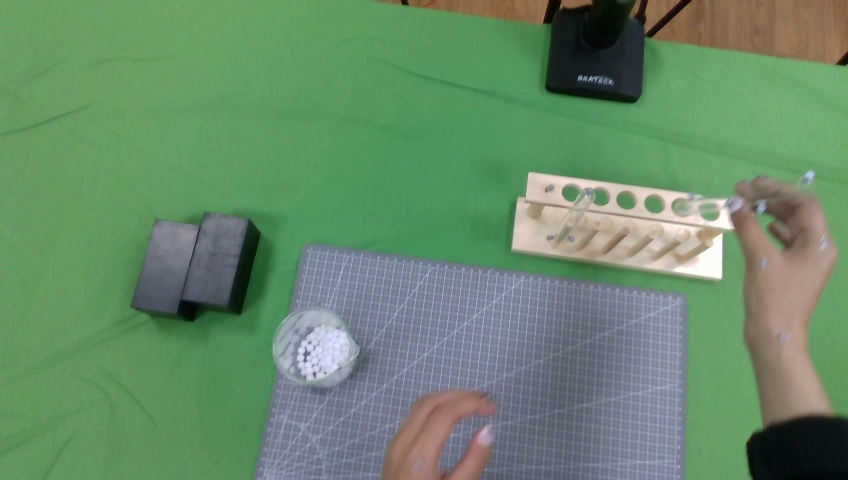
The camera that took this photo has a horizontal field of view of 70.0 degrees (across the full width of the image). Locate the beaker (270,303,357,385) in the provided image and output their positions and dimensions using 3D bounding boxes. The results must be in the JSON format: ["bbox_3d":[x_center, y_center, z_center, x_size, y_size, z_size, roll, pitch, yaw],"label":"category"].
[{"bbox_3d":[-0.107,0.112,0.628,0.084,0.101,0.073,8,73,1],"label":"beaker"}]

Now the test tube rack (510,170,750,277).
[{"bbox_3d":[0.226,-0.016,0.683,0.242,0.085,0.066,8,73,1],"label":"test tube rack"}]

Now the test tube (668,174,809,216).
[{"bbox_3d":[0.266,-0.037,0.528,0.017,0.150,0.017,1,85,-16],"label":"test tube"}]

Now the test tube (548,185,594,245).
[{"bbox_3d":[0.153,-0.023,0.637,0.017,0.151,0.017,0,72,0],"label":"test tube"}]
